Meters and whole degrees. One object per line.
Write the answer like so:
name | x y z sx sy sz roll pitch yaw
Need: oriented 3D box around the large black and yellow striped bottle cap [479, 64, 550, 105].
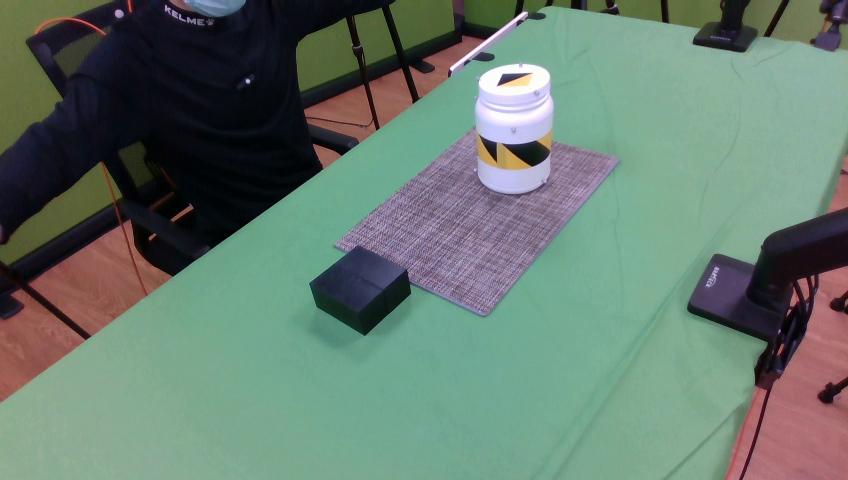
large black and yellow striped bottle cap | 0.146 -0.253 0.978 0.115 0.019 0.114 -5 40 5

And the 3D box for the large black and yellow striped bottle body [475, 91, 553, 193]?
large black and yellow striped bottle body | 0.153 -0.187 1.034 0.131 0.185 0.130 -4 41 4
